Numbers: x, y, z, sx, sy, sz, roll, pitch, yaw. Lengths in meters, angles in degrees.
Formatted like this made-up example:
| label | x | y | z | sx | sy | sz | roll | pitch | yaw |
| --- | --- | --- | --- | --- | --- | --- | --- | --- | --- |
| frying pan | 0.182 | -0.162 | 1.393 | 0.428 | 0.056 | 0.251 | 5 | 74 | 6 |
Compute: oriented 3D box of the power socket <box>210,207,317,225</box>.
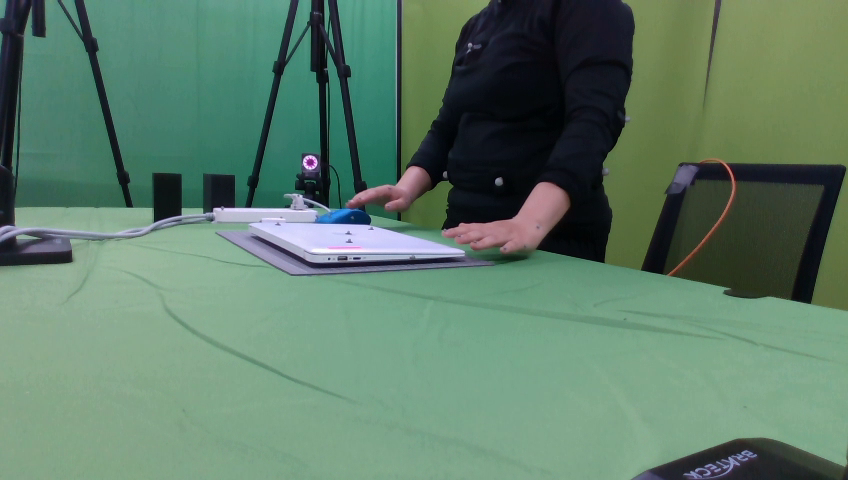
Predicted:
| label | x | y | z | sx | sy | sz | roll | pitch | yaw |
| --- | --- | --- | --- | --- | --- | --- | --- | --- | --- |
| power socket | -0.334 | -0.051 | 1.281 | 0.228 | 0.032 | 0.072 | -1 | 8 | -28 |

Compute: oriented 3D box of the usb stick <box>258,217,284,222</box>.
| label | x | y | z | sx | sy | sz | roll | pitch | yaw |
| --- | --- | --- | --- | --- | --- | --- | --- | --- | --- |
| usb stick | -0.290 | -0.028 | 1.119 | 0.059 | 0.027 | 0.021 | -3 | 13 | -29 |

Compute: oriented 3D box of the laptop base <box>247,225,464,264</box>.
| label | x | y | z | sx | sy | sz | roll | pitch | yaw |
| --- | --- | --- | --- | --- | --- | --- | --- | --- | --- |
| laptop base | -0.124 | 0.006 | 0.955 | 0.237 | 0.023 | 0.352 | 2 | 6 | -30 |

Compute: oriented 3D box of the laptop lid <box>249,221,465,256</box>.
| label | x | y | z | sx | sy | sz | roll | pitch | yaw |
| --- | --- | --- | --- | --- | --- | --- | --- | --- | --- |
| laptop lid | -0.122 | -0.005 | 0.955 | 0.243 | 0.013 | 0.355 | 1 | 7 | -28 |

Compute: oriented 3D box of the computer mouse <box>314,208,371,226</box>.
| label | x | y | z | sx | sy | sz | roll | pitch | yaw |
| --- | --- | --- | --- | --- | --- | --- | --- | --- | --- |
| computer mouse | -0.175 | -0.047 | 1.293 | 0.118 | 0.041 | 0.062 | -7 | 14 | -34 |

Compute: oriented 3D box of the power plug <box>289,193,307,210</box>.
| label | x | y | z | sx | sy | sz | roll | pitch | yaw |
| --- | --- | --- | --- | --- | --- | --- | --- | --- | --- |
| power plug | -0.281 | -0.076 | 1.340 | 0.035 | 0.052 | 0.072 | 3 | 5 | -18 |
